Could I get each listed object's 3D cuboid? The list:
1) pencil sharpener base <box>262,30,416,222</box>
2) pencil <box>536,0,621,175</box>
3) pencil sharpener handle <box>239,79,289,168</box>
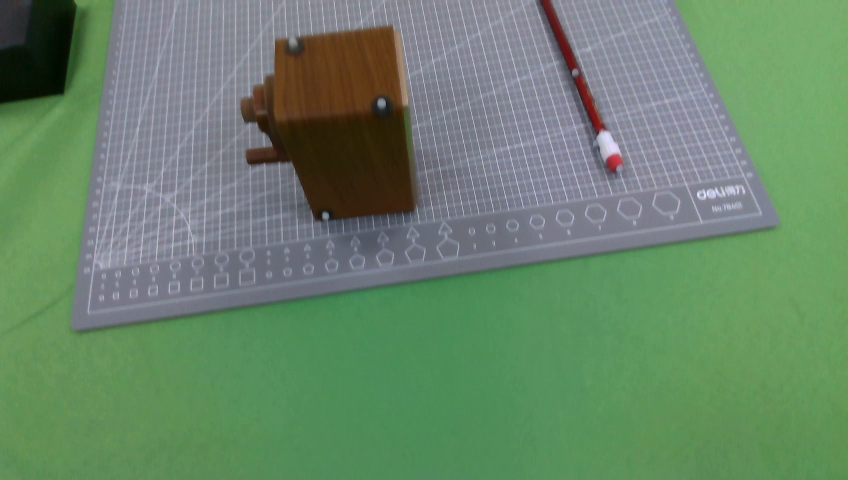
[{"bbox_3d":[-0.047,-0.063,0.367,0.077,0.108,0.061,-7,62,-1],"label":"pencil sharpener base"},{"bbox_3d":[0.110,-0.127,0.452,0.012,0.012,0.192,-11,61,-4],"label":"pencil"},{"bbox_3d":[-0.099,-0.064,0.355,0.030,0.068,0.035,-7,64,-1],"label":"pencil sharpener handle"}]
